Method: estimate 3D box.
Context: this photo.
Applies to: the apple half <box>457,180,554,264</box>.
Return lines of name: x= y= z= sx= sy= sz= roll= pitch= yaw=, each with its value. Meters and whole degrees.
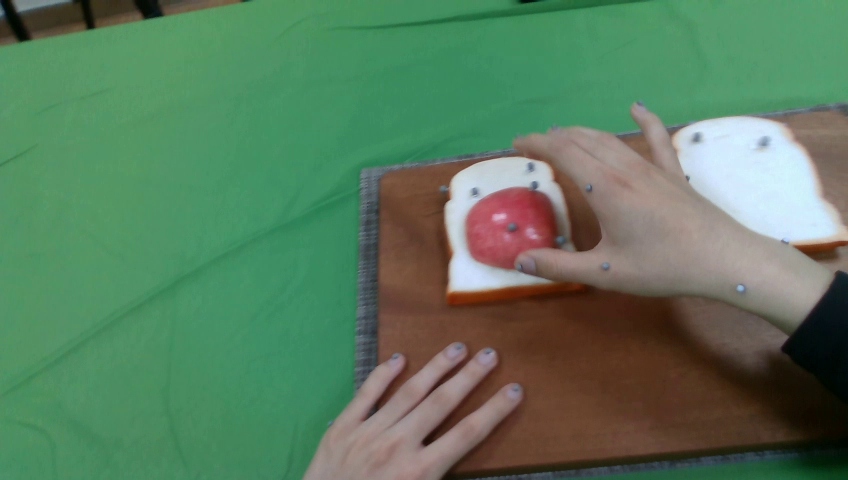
apple half: x=0.061 y=-0.021 z=0.461 sx=0.081 sy=0.033 sz=0.080 roll=-4 pitch=56 yaw=6

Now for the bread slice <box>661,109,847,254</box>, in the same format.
bread slice: x=0.243 y=-0.049 z=0.474 sx=0.107 sy=0.018 sz=0.133 roll=-9 pitch=55 yaw=4

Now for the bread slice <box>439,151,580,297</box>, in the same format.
bread slice: x=0.061 y=-0.018 z=0.489 sx=0.105 sy=0.019 sz=0.130 roll=-8 pitch=57 yaw=4
